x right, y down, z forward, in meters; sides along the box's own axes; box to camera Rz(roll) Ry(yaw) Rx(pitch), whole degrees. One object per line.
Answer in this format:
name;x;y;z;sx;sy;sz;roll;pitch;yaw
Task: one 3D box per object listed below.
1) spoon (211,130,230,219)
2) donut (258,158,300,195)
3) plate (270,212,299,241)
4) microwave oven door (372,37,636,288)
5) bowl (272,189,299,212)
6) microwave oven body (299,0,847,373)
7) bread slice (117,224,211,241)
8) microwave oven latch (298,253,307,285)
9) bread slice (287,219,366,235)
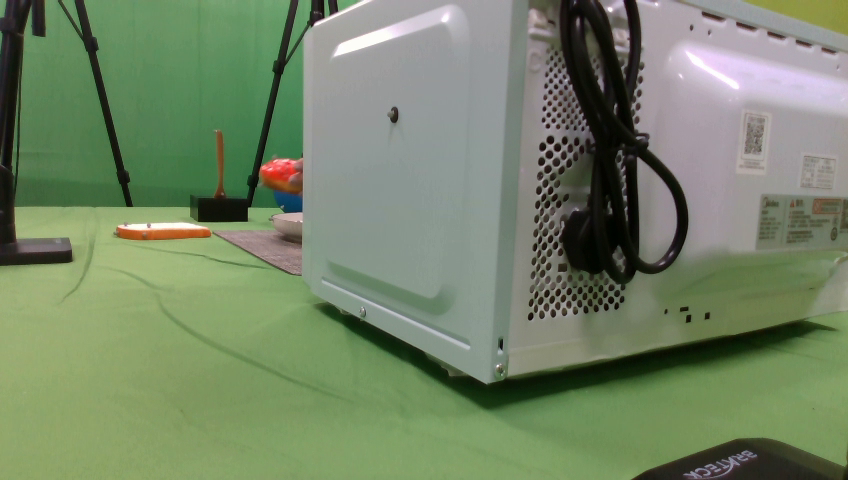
spoon;-0.436;-0.138;1.296;0.042;0.193;0.021;-4;23;-28
donut;-0.189;-0.091;0.874;0.099;0.048;0.099;10;14;-2
plate;-0.162;-0.022;1.058;0.208;0.039;0.207;2;7;0
microwave oven door;0.110;-0.080;0.686;0.358;0.243;0.039;-2;9;-33
bowl;-0.254;-0.075;1.318;0.151;0.077;0.151;2;7;0
microwave oven body;0.151;-0.055;0.542;0.444;0.260;0.324;-2;7;-33
bread slice;-0.443;-0.015;1.022;0.132;0.019;0.104;-3;8;-45
microwave oven latch;-0.081;0.027;0.582;0.079;0.029;0.030;-1;7;-32
bread slice;-0.169;-0.023;1.056;0.134;0.018;0.107;0;7;-6
